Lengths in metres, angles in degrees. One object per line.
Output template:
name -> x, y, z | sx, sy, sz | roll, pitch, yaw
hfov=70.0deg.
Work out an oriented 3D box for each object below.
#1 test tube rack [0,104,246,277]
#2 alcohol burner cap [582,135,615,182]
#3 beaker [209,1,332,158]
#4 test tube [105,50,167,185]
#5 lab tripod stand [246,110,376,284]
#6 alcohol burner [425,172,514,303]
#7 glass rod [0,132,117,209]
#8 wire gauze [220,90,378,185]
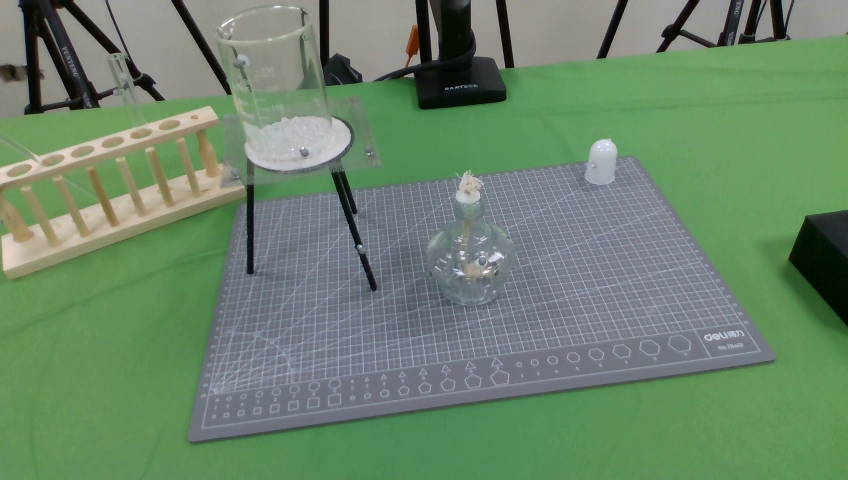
test tube rack -> -0.322, -0.057, 0.632 | 0.243, 0.086, 0.066 | -23, 44, -20
alcohol burner cap -> 0.188, -0.090, 0.651 | 0.034, 0.048, 0.033 | -2, 41, 2
beaker -> -0.116, -0.122, 0.470 | 0.083, 0.101, 0.073 | 13, 44, 22
test tube -> -0.296, -0.122, 0.628 | 0.017, 0.151, 0.017 | -2, 38, 2
lab tripod stand -> -0.102, -0.037, 0.546 | 0.148, 0.133, 0.147 | -3, 43, 3
alcohol burner -> 0.038, -0.005, 0.511 | 0.078, 0.120, 0.077 | -3, 39, 3
glass rod -> -0.383, -0.084, 0.582 | 0.008, 0.202, 0.008 | -18, 51, 24
wire gauze -> -0.107, -0.086, 0.503 | 0.125, 0.011, 0.120 | -13, 39, -5
